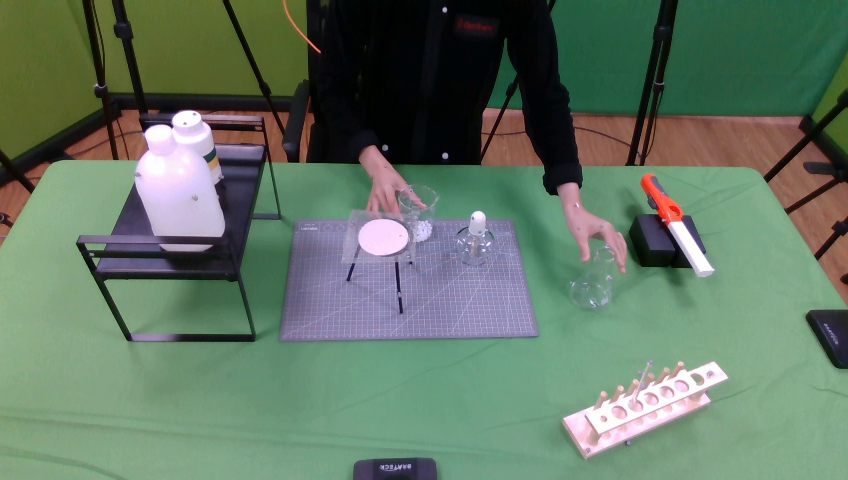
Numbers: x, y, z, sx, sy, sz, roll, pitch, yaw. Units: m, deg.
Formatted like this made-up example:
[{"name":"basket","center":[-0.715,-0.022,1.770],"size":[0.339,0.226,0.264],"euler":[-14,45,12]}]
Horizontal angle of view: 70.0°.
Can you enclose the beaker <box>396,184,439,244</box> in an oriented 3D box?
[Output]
[{"name":"beaker","center":[-0.014,-0.049,1.186],"size":[0.084,0.101,0.073],"euler":[-8,48,-12]}]

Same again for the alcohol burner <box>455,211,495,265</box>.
[{"name":"alcohol burner","center":[0.097,-0.010,1.147],"size":[0.078,0.120,0.077],"euler":[1,47,-1]}]

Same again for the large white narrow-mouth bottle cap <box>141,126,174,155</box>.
[{"name":"large white narrow-mouth bottle cap","center":[-0.356,-0.133,0.811],"size":[0.038,0.024,0.037],"euler":[2,48,-2]}]

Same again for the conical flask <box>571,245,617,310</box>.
[{"name":"conical flask","center":[0.313,0.064,1.089],"size":[0.075,0.122,0.075],"euler":[2,46,-2]}]

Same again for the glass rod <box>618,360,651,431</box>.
[{"name":"glass rod","center":[0.298,0.227,0.865],"size":[0.008,0.201,0.008],"euler":[-1,48,2]}]

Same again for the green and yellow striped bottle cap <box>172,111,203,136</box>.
[{"name":"green and yellow striped bottle cap","center":[-0.374,-0.185,0.958],"size":[0.045,0.020,0.045],"euler":[4,46,-4]}]

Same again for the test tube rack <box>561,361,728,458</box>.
[{"name":"test tube rack","center":[0.341,0.248,0.940],"size":[0.243,0.085,0.066],"euler":[-15,49,-18]}]

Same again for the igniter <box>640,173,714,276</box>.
[{"name":"igniter","center":[0.495,-0.039,1.204],"size":[0.057,0.025,0.274],"euler":[-2,47,-12]}]

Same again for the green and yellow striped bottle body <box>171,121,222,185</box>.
[{"name":"green and yellow striped bottle body","center":[-0.375,-0.149,0.995],"size":[0.063,0.120,0.063],"euler":[2,46,-2]}]

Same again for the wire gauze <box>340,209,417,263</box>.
[{"name":"wire gauze","center":[-0.074,-0.007,1.023],"size":[0.121,0.011,0.124],"euler":[3,46,0]}]

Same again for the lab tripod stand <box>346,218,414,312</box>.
[{"name":"lab tripod stand","center":[-0.070,0.037,1.075],"size":[0.148,0.132,0.147],"euler":[1,48,-1]}]

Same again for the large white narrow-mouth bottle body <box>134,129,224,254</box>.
[{"name":"large white narrow-mouth bottle body","center":[-0.358,-0.075,0.875],"size":[0.102,0.195,0.101],"euler":[1,48,-1]}]

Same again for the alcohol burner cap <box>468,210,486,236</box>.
[{"name":"alcohol burner cap","center":[0.100,-0.034,1.119],"size":[0.034,0.048,0.033],"euler":[0,53,0]}]
